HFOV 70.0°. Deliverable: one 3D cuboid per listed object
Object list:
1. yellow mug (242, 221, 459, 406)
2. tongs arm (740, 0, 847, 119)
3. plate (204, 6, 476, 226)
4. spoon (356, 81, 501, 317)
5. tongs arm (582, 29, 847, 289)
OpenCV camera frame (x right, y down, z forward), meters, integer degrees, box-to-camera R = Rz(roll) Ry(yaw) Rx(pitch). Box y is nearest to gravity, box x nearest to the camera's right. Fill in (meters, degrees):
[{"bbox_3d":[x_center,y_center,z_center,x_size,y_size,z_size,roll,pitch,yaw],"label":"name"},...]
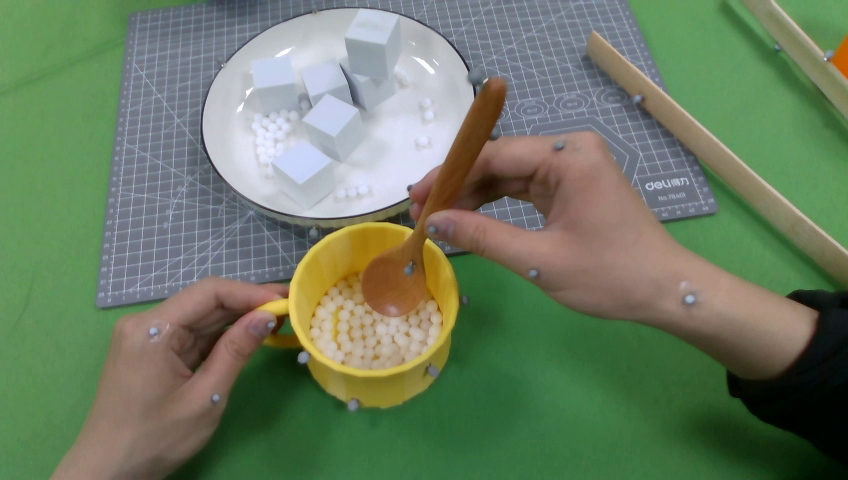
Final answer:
[{"bbox_3d":[-0.046,0.048,0.376,0.131,0.064,0.099,-7,60,-7],"label":"yellow mug"},{"bbox_3d":[0.322,-0.070,0.445,0.051,0.027,0.381,-22,65,-9],"label":"tongs arm"},{"bbox_3d":[-0.062,-0.097,0.473,0.207,0.039,0.206,-1,62,2],"label":"plate"},{"bbox_3d":[-0.001,-0.008,0.317,0.041,0.194,0.021,29,55,-1],"label":"spoon"},{"bbox_3d":[0.250,-0.034,0.433,0.028,0.028,0.384,-33,66,-17],"label":"tongs arm"}]
